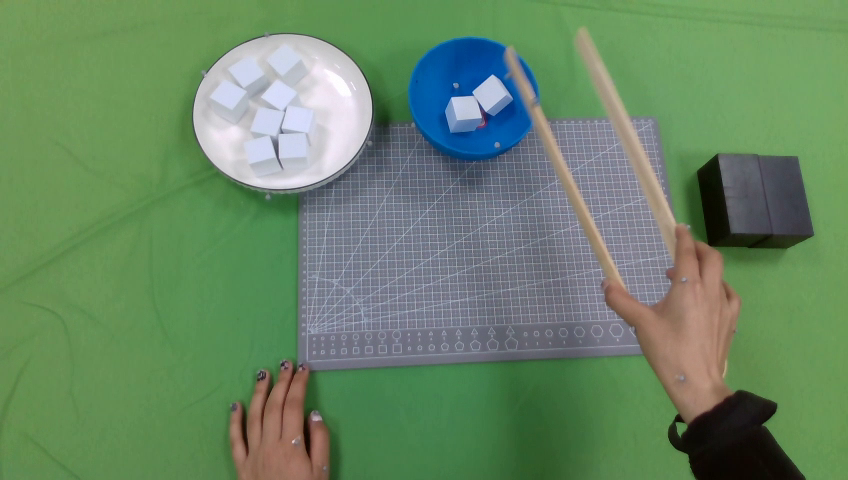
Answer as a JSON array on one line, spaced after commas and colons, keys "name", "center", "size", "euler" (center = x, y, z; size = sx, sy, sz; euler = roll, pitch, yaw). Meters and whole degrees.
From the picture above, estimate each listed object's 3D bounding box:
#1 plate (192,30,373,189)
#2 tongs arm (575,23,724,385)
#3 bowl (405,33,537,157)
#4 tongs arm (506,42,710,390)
[{"name": "plate", "center": [-0.164, -0.152, 0.721], "size": [0.208, 0.039, 0.206], "euler": [1, 73, -3]}, {"name": "tongs arm", "center": [0.214, -0.050, 0.598], "size": [0.028, 0.028, 0.385], "euler": [-12, 73, -12]}, {"name": "bowl", "center": [0.051, -0.157, 0.716], "size": [0.151, 0.077, 0.150], "euler": [1, 73, -4]}, {"name": "tongs arm", "center": [0.169, -0.036, 0.591], "size": [0.051, 0.026, 0.382], "euler": [-16, 73, -10]}]
